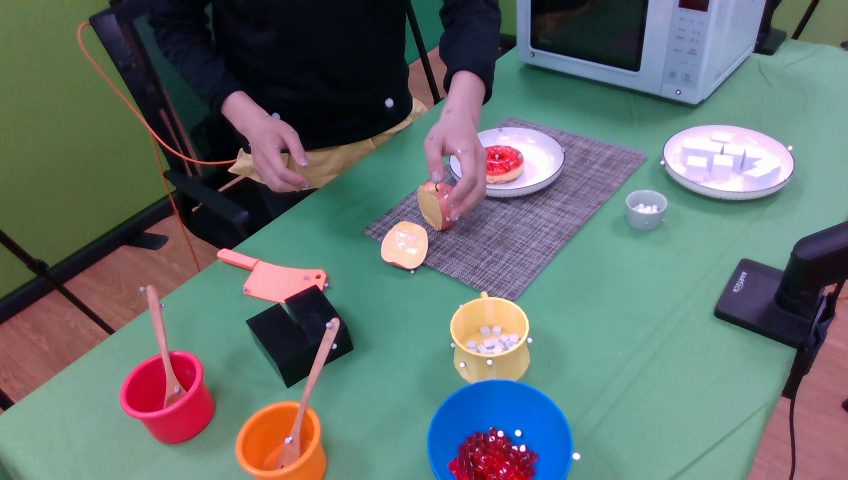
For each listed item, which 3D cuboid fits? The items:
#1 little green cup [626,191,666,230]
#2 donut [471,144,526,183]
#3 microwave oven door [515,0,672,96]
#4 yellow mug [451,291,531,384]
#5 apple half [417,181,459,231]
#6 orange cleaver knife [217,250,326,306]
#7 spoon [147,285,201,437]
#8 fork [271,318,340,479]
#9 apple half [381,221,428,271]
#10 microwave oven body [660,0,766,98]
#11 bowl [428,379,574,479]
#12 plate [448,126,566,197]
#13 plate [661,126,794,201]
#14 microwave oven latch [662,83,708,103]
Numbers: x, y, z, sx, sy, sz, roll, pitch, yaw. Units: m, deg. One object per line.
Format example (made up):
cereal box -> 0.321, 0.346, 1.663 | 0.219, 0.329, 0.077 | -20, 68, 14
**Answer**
little green cup -> 0.352, -0.046, 0.963 | 0.061, 0.039, 0.061 | -4, 40, 4
donut -> 0.133, -0.138, 1.082 | 0.099, 0.048, 0.098 | -5, 38, 4
microwave oven door -> 0.344, -0.455, 1.259 | 0.353, 0.245, 0.039 | 26, 51, 33
yellow mug -> 0.085, 0.120, 0.786 | 0.100, 0.064, 0.130 | -7, 39, 1
apple half -> 0.030, -0.059, 0.995 | 0.053, 0.075, 0.080 | -23, 39, -22
orange cleaver knife -> -0.247, 0.059, 0.945 | 0.210, 0.012, 0.077 | 12, 48, 21
spoon -> -0.318, 0.148, 0.754 | 0.042, 0.021, 0.193 | -15, 85, -9
fork -> -0.132, 0.186, 0.676 | 0.028, 0.019, 0.207 | 18, 90, 28
apple half -> -0.024, 0.012, 0.946 | 0.081, 0.033, 0.081 | -5, 73, 16
microwave oven body -> 0.473, -0.514, 1.317 | 0.438, 0.261, 0.327 | 26, 51, 34
bowl -> 0.082, 0.233, 0.644 | 0.151, 0.077, 0.150 | -4, 40, 4
plate -> 0.150, -0.138, 1.096 | 0.209, 0.038, 0.208 | -4, 40, 4
plate -> 0.513, -0.127, 1.035 | 0.207, 0.039, 0.206 | -4, 40, 4
microwave oven latch -> 0.518, -0.296, 1.204 | 0.078, 0.029, 0.030 | 27, 52, 35
